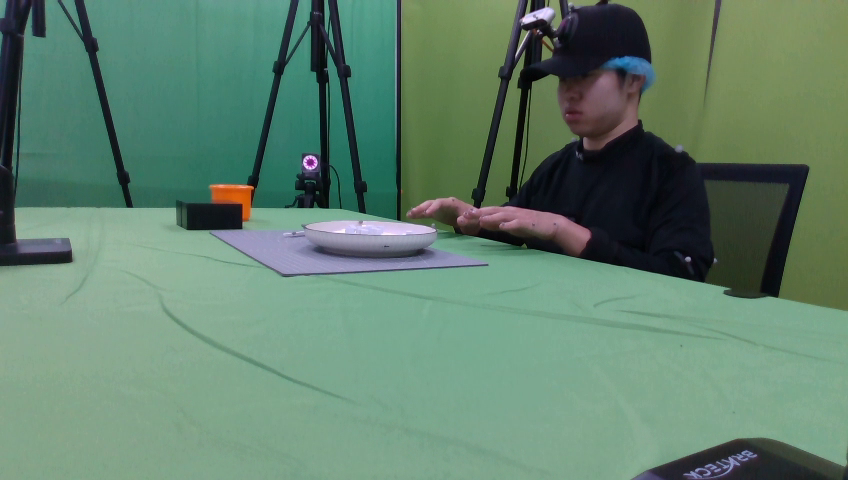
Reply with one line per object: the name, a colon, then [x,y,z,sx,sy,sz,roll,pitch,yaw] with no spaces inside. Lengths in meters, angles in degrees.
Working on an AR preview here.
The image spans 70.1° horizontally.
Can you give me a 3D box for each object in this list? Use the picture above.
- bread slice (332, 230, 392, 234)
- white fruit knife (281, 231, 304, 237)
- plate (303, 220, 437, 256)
bread slice: [-0.088,-0.001,0.947,0.105,0.019,0.131,-5,11,-45]
white fruit knife: [-0.178,-0.017,1.131,0.208,0.016,0.027,-8,-17,-47]
plate: [-0.084,-0.003,0.951,0.209,0.038,0.209,3,7,0]
